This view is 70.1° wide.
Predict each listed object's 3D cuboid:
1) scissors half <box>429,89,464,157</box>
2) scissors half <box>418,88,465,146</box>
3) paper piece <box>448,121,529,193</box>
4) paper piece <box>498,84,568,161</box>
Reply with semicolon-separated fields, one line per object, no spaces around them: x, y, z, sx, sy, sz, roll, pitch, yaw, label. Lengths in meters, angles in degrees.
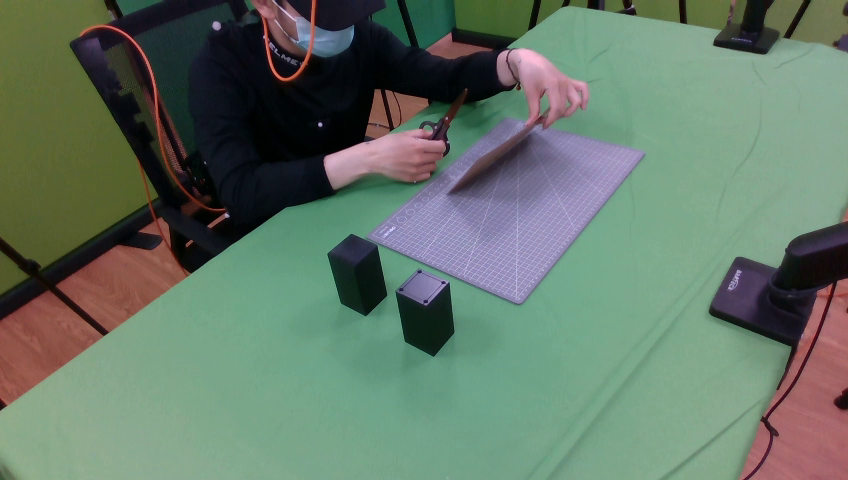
0.043;-0.204;1.067;0.013;0.175;0.040;-36;73;-31;scissors half
0.030;-0.219;1.070;0.040;0.174;0.013;49;57;-2;scissors half
0.108;-0.142;1.045;0.136;0.135;0.004;-36;83;-30;paper piece
0.199;-0.212;1.114;0.008;0.135;0.138;44;59;0;paper piece
